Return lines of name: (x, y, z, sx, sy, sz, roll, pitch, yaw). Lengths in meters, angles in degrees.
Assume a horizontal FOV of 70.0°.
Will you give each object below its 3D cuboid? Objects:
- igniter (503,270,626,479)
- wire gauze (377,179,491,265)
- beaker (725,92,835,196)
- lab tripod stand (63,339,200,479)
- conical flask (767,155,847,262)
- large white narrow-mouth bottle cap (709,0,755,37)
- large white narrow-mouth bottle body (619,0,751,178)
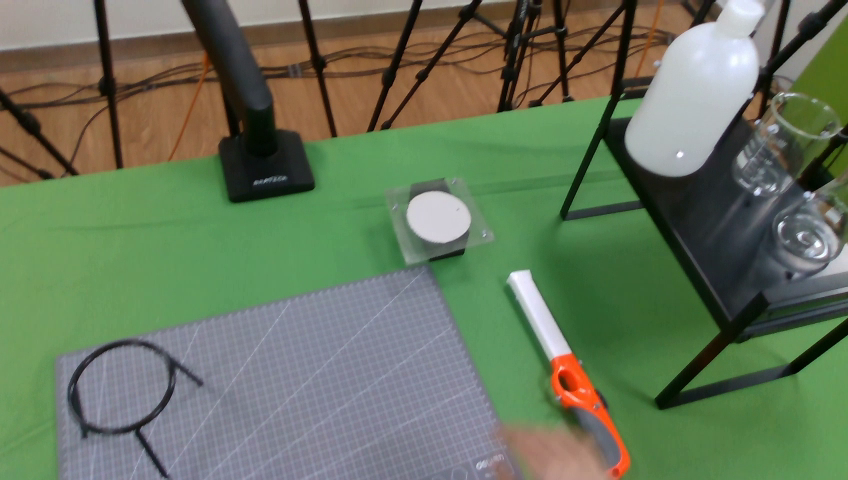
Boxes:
igniter: (0.166, 0.151, 0.735, 0.057, 0.025, 0.273, -6, 54, -26)
wire gauze: (0.011, -0.030, 0.801, 0.122, 0.011, 0.123, -12, 56, -17)
beaker: (0.400, -0.108, 0.695, 0.074, 0.101, 0.083, -7, 53, -13)
lab tripod stand: (-0.273, 0.168, 0.585, 0.149, 0.132, 0.147, 6, 52, -7)
conical flask: (0.425, -0.038, 0.631, 0.075, 0.123, 0.074, 4, 52, -5)
large white narrow-mouth bottle cap: (0.302, -0.219, 0.596, 0.038, 0.024, 0.037, 4, 52, -5)
large white narrow-mouth bottle body: (0.292, -0.166, 0.662, 0.102, 0.196, 0.101, 4, 52, -5)
